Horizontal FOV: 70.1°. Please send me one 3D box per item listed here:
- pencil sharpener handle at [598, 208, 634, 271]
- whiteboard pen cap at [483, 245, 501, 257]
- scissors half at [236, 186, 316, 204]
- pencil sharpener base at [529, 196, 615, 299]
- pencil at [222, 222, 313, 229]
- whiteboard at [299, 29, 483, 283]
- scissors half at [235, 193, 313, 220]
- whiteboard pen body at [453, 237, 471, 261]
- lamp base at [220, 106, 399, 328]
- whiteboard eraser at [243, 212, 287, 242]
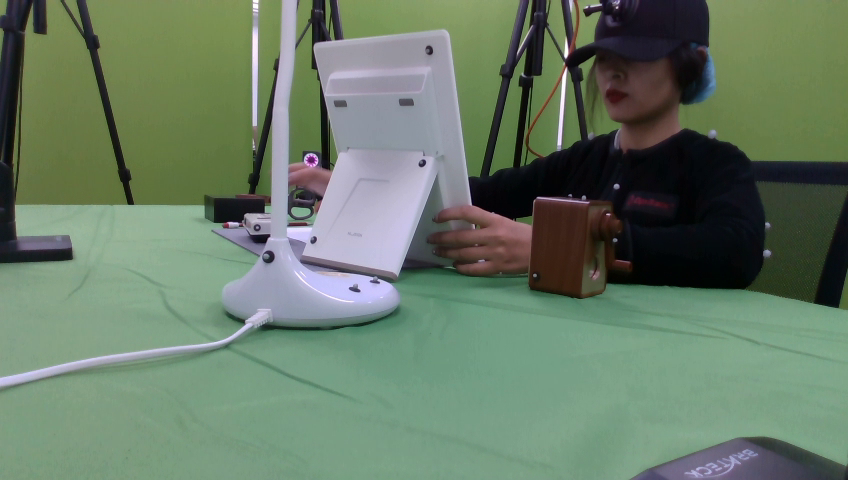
[{"bbox_3d":[0.208,0.000,0.644,0.030,0.068,0.036,10,23,42],"label":"pencil sharpener handle"},{"bbox_3d":[0.104,0.017,0.936,0.018,0.018,0.033,-1,4,-22],"label":"whiteboard pen cap"},{"bbox_3d":[-0.320,-0.097,1.316,0.176,0.040,0.013,-3,11,-29],"label":"scissors half"},{"bbox_3d":[0.168,0.007,0.678,0.076,0.107,0.062,10,10,42],"label":"pencil sharpener base"},{"bbox_3d":[-0.302,-0.030,1.188,0.195,0.012,0.012,-2,9,-42],"label":"pencil"},{"bbox_3d":[-0.074,-0.082,0.742,0.216,0.305,0.144,9,29,37],"label":"whiteboard"},{"bbox_3d":[-0.324,-0.077,1.319,0.176,0.040,0.012,17,6,-31],"label":"scissors half"},{"bbox_3d":[0.058,0.015,0.912,0.017,0.017,0.140,2,10,-3],"label":"whiteboard pen body"},{"bbox_3d":[-0.101,-0.023,0.531,0.160,0.180,0.179,4,10,10],"label":"lamp base"},{"bbox_3d":[-0.260,-0.021,0.982,0.056,0.042,0.112,0,8,-23],"label":"whiteboard eraser"}]
